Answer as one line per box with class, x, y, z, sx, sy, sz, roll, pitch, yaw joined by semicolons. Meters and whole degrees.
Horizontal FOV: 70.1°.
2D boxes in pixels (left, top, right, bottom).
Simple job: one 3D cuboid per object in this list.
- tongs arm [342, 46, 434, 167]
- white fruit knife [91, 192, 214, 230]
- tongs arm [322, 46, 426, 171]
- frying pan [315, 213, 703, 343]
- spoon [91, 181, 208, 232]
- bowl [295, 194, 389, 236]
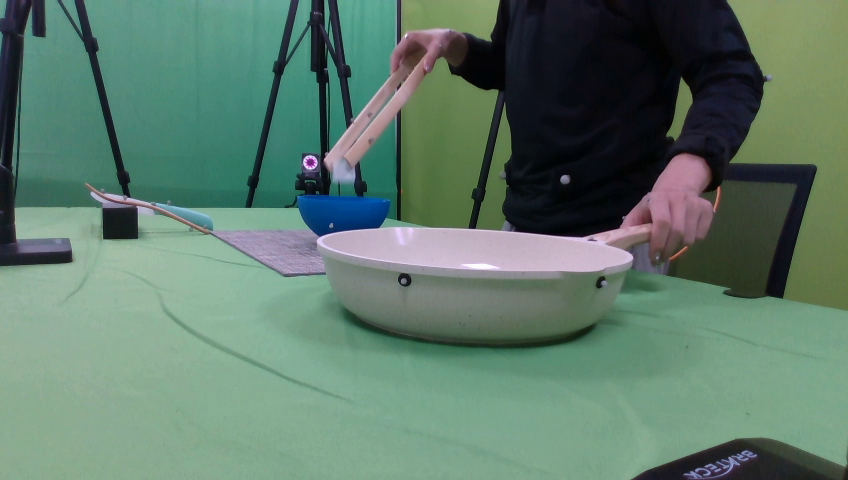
tongs arm;-0.054;-0.251;1.080;0.028;0.028;0.388;-11;36;36
white fruit knife;-0.477;-0.055;1.077;0.208;0.027;0.016;15;-5;-30
tongs arm;-0.078;-0.249;1.096;0.050;0.026;0.385;-9;37;32
frying pan;0.133;0.014;0.629;0.490;0.102;0.305;-11;14;-29
spoon;-0.461;-0.053;1.023;0.195;0.021;0.041;21;22;-24
bowl;-0.132;-0.032;0.980;0.151;0.077;0.151;2;7;0
